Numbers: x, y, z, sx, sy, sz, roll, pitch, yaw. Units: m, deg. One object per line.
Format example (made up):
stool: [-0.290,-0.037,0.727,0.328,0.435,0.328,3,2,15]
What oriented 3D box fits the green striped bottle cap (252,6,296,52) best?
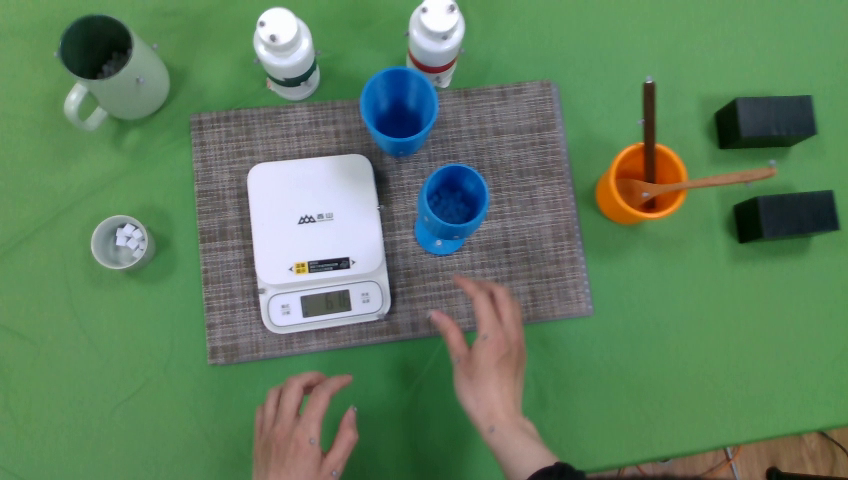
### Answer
green striped bottle cap: [-0.160,-0.225,0.644,0.044,0.020,0.044,0,81,-2]

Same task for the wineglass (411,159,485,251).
wineglass: [0.021,-0.032,0.654,0.074,0.172,0.073,1,80,-4]

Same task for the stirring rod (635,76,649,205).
stirring rod: [0.252,-0.109,0.699,0.014,0.178,0.006,5,46,26]

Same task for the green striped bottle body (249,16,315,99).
green striped bottle body: [-0.163,-0.215,0.699,0.063,0.119,0.063,1,81,-4]

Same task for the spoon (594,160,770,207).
spoon: [0.289,-0.068,0.697,0.022,0.193,0.041,-6,90,-49]

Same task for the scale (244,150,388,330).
scale: [-0.127,-0.002,0.710,0.149,0.031,0.200,-8,83,-5]

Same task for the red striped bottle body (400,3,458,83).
red striped bottle body: [0.005,-0.238,0.715,0.063,0.120,0.063,1,81,-4]

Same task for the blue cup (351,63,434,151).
blue cup: [-0.035,-0.145,0.705,0.093,0.100,0.092,0,84,-4]

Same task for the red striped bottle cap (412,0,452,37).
red striped bottle cap: [0.009,-0.246,0.662,0.044,0.018,0.044,1,78,-3]

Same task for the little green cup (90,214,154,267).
little green cup: [-0.342,0.003,0.693,0.061,0.039,0.061,1,81,-5]

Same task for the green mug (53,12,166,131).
green mug: [-0.362,-0.181,0.686,0.092,0.105,0.125,28,80,0]
